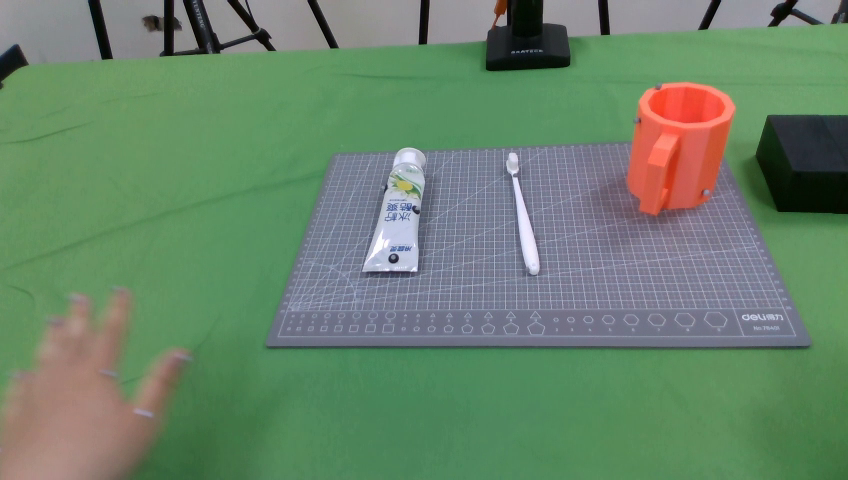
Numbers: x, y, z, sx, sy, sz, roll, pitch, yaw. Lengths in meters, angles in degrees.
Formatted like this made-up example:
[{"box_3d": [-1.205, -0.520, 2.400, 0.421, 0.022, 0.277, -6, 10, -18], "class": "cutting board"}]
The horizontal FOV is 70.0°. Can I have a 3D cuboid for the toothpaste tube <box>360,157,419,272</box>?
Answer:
[{"box_3d": [-0.029, -0.031, 0.630, 0.055, 0.035, 0.163, -4, 46, 10], "class": "toothpaste tube"}]

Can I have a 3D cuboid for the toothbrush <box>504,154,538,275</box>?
[{"box_3d": [0.099, -0.032, 0.621, 0.014, 0.017, 0.180, 5, 43, -6], "class": "toothbrush"}]

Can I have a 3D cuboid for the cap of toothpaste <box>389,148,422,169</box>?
[{"box_3d": [-0.021, -0.087, 0.682, 0.037, 0.038, 0.011, 2, 49, 10], "class": "cap of toothpaste"}]

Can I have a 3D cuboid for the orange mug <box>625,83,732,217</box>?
[{"box_3d": [0.242, -0.084, 0.597, 0.083, 0.102, 0.126, 19, 44, 27], "class": "orange mug"}]
